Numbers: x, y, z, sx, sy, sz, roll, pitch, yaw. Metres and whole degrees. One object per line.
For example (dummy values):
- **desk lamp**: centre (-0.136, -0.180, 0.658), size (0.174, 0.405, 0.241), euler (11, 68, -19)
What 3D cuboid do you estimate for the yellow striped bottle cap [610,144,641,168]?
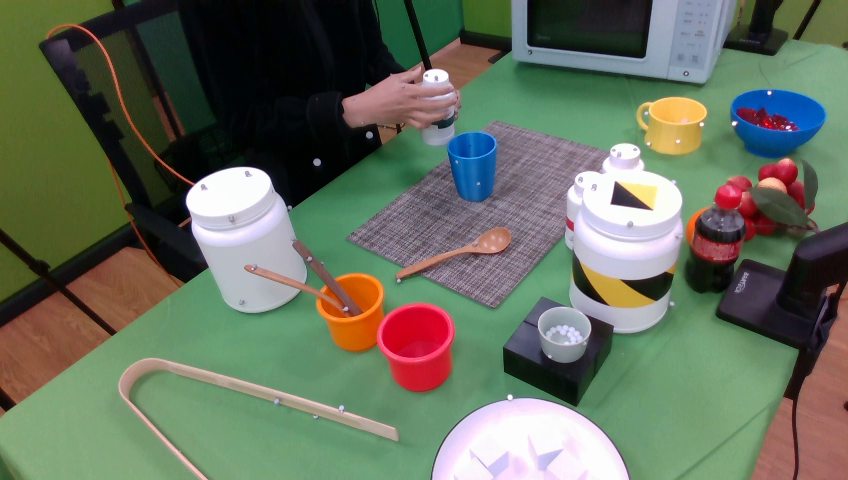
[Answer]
- **yellow striped bottle cap**: centre (0.307, -0.128, 0.923), size (0.044, 0.019, 0.044), euler (-6, 40, 5)

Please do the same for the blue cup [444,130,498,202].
- **blue cup**: centre (0.087, -0.123, 1.040), size (0.092, 0.100, 0.092), euler (-5, 42, 5)

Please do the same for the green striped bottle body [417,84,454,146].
- **green striped bottle body**: centre (0.021, -0.228, 1.053), size (0.063, 0.120, 0.063), euler (-2, 44, 2)

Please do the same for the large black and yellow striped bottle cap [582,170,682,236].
- **large black and yellow striped bottle cap**: centre (0.252, -0.048, 0.735), size (0.115, 0.019, 0.114), euler (-3, 40, 3)

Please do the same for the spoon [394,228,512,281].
- **spoon**: centre (0.045, 0.024, 0.935), size (0.194, 0.022, 0.041), euler (-18, 66, -11)

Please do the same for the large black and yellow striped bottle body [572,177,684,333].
- **large black and yellow striped bottle body**: centre (0.262, 0.017, 0.788), size (0.131, 0.185, 0.130), euler (-5, 40, 4)

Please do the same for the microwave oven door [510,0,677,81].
- **microwave oven door**: centre (0.354, -0.478, 1.290), size (0.353, 0.245, 0.039), euler (15, 45, 25)

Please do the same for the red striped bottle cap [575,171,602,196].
- **red striped bottle cap**: centre (0.242, -0.081, 0.876), size (0.044, 0.018, 0.044), euler (-5, 44, 5)

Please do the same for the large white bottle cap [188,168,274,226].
- **large white bottle cap**: centre (-0.264, -0.061, 0.831), size (0.115, 0.018, 0.114), euler (-4, 40, 4)

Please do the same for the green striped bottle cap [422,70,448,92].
- **green striped bottle cap**: centre (0.019, -0.268, 1.017), size (0.044, 0.020, 0.044), euler (2, 44, -1)

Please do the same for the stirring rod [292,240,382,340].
- **stirring rod**: centre (-0.119, 0.068, 0.826), size (0.176, 0.006, 0.014), euler (49, 58, -4)

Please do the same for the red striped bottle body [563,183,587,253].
- **red striped bottle body**: centre (0.246, -0.041, 0.910), size (0.063, 0.120, 0.062), euler (-2, 38, 2)

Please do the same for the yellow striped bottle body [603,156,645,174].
- **yellow striped bottle body**: centre (0.313, -0.089, 0.955), size (0.063, 0.121, 0.062), euler (-5, 39, 4)

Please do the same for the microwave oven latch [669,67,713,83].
- **microwave oven latch**: centre (0.556, -0.348, 1.261), size (0.078, 0.029, 0.030), euler (16, 46, 27)

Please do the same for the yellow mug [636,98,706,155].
- **yellow mug**: centre (0.453, -0.217, 1.129), size (0.100, 0.064, 0.129), euler (-34, 46, -27)

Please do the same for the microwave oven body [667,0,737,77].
- **microwave oven body**: centre (0.462, -0.552, 1.369), size (0.439, 0.261, 0.326), euler (15, 45, 26)

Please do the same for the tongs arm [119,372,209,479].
- **tongs arm**: centre (-0.258, 0.257, 0.700), size (0.384, 0.028, 0.028), euler (24, 55, 34)

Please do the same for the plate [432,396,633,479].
- **plate**: centre (0.112, 0.261, 0.634), size (0.209, 0.038, 0.208), euler (-5, 40, 4)

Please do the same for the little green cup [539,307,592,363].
- **little green cup**: centre (0.168, 0.115, 0.721), size (0.061, 0.039, 0.061), euler (-4, 42, 4)

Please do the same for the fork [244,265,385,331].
- **fork**: centre (-0.142, 0.078, 0.806), size (0.209, 0.018, 0.028), euler (30, 32, -23)

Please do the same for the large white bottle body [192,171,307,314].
- **large white bottle body**: centre (-0.256, 0.003, 0.885), size (0.130, 0.185, 0.130), euler (-4, 40, 4)

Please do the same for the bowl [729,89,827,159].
- **bowl**: centre (0.615, -0.197, 1.069), size (0.151, 0.077, 0.150), euler (-5, 40, 5)

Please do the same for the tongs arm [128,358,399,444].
- **tongs arm**: centre (-0.213, 0.205, 0.755), size (0.382, 0.026, 0.051), euler (12, 46, 23)
